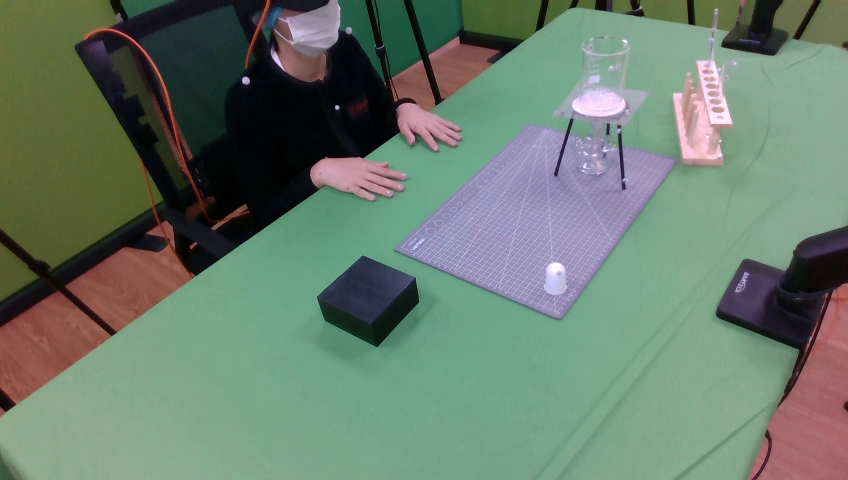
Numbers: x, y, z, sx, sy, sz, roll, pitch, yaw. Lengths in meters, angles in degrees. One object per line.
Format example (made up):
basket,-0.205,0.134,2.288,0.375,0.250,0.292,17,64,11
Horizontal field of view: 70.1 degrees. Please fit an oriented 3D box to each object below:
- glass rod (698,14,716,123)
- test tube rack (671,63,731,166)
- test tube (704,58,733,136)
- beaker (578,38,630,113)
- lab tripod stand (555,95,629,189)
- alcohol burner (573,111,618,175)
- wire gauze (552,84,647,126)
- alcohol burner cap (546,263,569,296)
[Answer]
glass rod,0.531,-0.320,1.136,0.008,0.200,0.008,3,12,0
test tube rack,0.513,-0.241,1.132,0.066,0.085,0.242,4,41,14
test tube,0.516,-0.247,1.062,0.017,0.151,0.017,-3,43,4
beaker,0.290,-0.265,0.976,0.084,0.101,0.073,-18,41,-14
lab tripod stand,0.300,-0.174,1.045,0.148,0.132,0.147,-5,38,5
alcohol burner,0.302,-0.174,1.060,0.078,0.119,0.077,-3,41,4
wire gauze,0.293,-0.224,1.004,0.120,0.011,0.125,19,43,26
alcohol burner cap,0.191,0.053,0.862,0.034,0.048,0.033,-5,40,4
